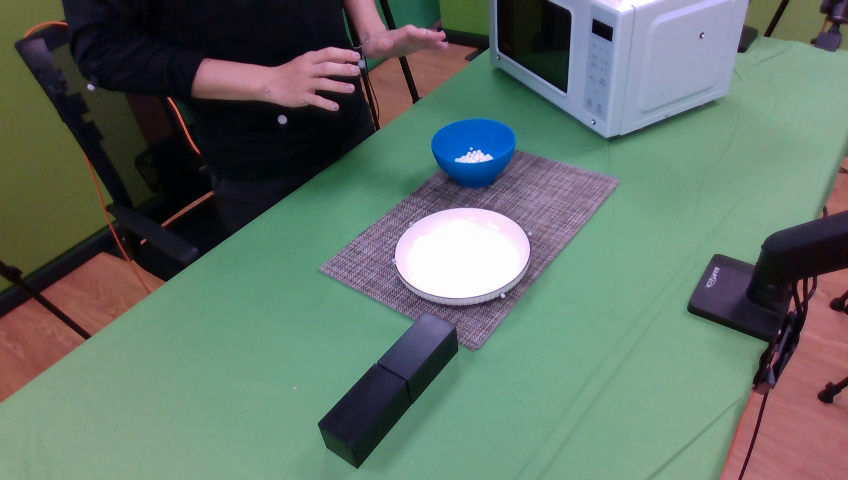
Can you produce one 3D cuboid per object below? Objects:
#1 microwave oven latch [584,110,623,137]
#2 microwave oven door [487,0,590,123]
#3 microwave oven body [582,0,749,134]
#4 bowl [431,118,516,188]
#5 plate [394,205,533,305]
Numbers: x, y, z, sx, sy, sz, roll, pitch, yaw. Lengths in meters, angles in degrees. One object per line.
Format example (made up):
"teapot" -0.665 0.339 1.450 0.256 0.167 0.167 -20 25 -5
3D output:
"microwave oven latch" 0.337 -0.222 1.142 0.030 0.029 0.078 -21 42 -14
"microwave oven door" 0.232 -0.420 1.230 0.039 0.245 0.352 -22 43 -16
"microwave oven body" 0.382 -0.444 1.246 0.327 0.261 0.437 -22 42 -16
"bowl" 0.090 -0.147 1.080 0.151 0.077 0.150 -4 40 4
"plate" 0.059 0.025 0.915 0.207 0.039 0.206 -4 41 4
